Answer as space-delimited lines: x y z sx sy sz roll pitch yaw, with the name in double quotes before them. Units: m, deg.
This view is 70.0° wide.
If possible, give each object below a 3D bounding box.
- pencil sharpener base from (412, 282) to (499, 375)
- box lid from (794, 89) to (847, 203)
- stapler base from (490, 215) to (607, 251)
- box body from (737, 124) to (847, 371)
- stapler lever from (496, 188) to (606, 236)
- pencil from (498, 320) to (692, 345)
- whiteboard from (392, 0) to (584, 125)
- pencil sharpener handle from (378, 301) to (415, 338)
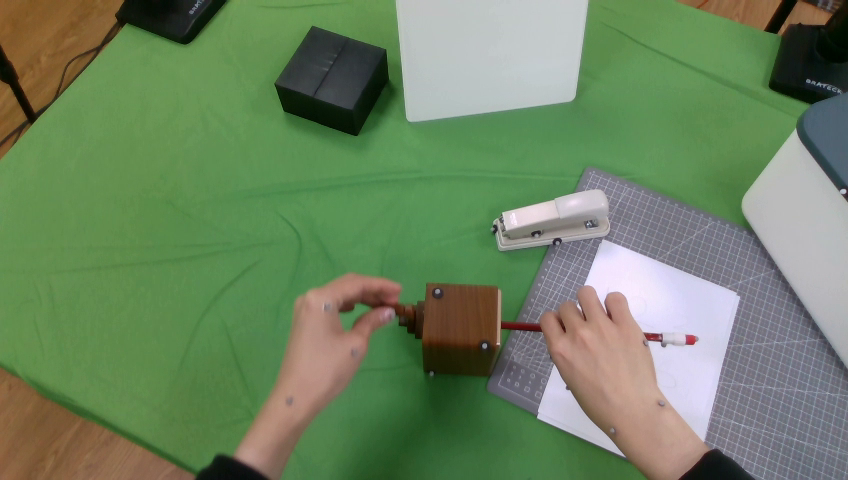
"pencil sharpener base" 0.028 0.087 0.582 0.077 0.108 0.061 3 65 2
"box lid" 0.522 -0.009 0.519 0.263 0.015 0.368 -19 67 -10
"stapler base" 0.141 -0.019 0.679 0.130 0.024 0.041 -9 60 -1
"box body" 0.523 0.026 0.585 0.254 0.161 0.361 -19 66 -10
"stapler lever" 0.138 -0.030 0.657 0.118 0.040 0.026 -9 60 -1
"pencil" 0.142 0.083 0.549 0.194 0.012 0.012 4 64 6
"whiteboard" 0.064 -0.315 0.702 0.217 0.308 0.142 -8 45 -3
"pencil sharpener handle" -0.023 0.068 0.543 0.030 0.068 0.036 3 75 2
